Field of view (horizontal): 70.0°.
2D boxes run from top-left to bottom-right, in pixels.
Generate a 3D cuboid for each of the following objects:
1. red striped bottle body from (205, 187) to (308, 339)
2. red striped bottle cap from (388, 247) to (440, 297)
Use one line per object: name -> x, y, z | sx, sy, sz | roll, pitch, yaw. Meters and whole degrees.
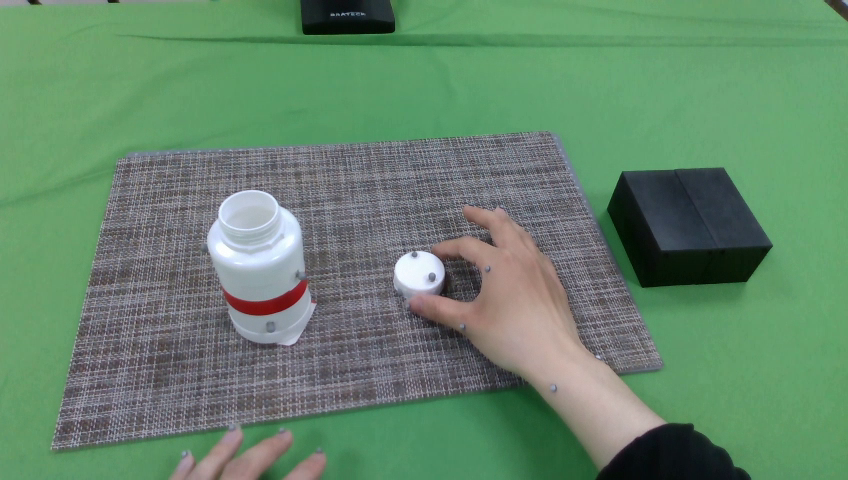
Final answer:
red striped bottle body -> -0.121, 0.017, 0.445 | 0.063, 0.120, 0.062 | 2, 49, -2
red striped bottle cap -> -0.008, 0.027, 0.515 | 0.044, 0.018, 0.044 | 7, 46, -6
